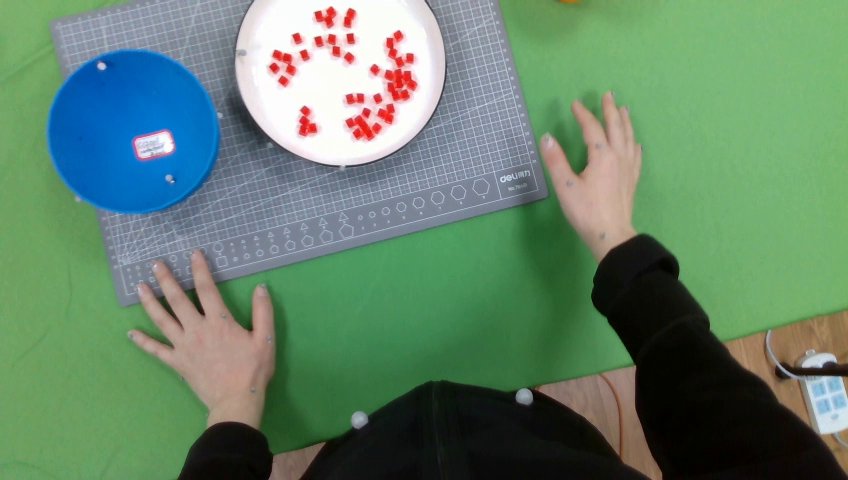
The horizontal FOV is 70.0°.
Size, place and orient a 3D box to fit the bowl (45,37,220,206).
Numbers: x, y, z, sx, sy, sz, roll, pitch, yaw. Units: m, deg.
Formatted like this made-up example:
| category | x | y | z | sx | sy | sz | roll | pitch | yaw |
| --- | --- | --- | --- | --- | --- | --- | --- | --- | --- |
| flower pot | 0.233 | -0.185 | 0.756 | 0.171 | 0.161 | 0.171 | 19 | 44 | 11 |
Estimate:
| category | x | y | z | sx | sy | sz | roll | pitch | yaw |
| --- | --- | --- | --- | --- | --- | --- | --- | --- | --- |
| bowl | -0.261 | -0.103 | 0.576 | 0.151 | 0.077 | 0.151 | 0 | 88 | -3 |

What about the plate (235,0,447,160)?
| category | x | y | z | sx | sy | sz | roll | pitch | yaw |
| --- | --- | --- | --- | --- | --- | --- | --- | --- | --- |
| plate | -0.080 | -0.182 | 0.608 | 0.209 | 0.038 | 0.209 | 0 | 88 | -2 |
